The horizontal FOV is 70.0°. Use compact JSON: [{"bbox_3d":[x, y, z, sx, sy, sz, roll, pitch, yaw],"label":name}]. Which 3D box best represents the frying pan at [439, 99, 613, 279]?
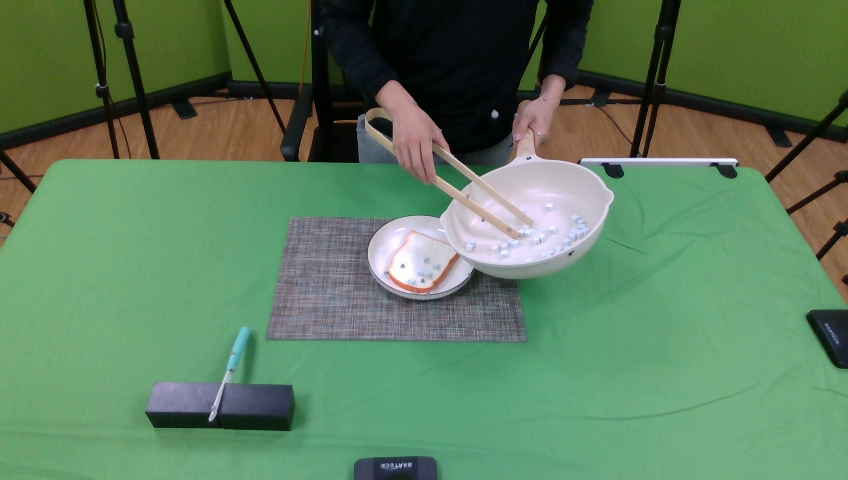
[{"bbox_3d":[0.193,-0.115,1.145,0.306,0.103,0.485,-6,49,17],"label":"frying pan"}]

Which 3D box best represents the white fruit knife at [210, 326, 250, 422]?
[{"bbox_3d":[-0.301,0.201,0.942,0.016,0.027,0.206,2,32,-2],"label":"white fruit knife"}]

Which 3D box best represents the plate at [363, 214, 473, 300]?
[{"bbox_3d":[-0.010,0.036,1.146,0.208,0.039,0.206,3,46,-2],"label":"plate"}]

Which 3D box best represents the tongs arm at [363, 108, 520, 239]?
[{"bbox_3d":[0.028,-0.129,1.135,0.384,0.026,0.050,35,63,13],"label":"tongs arm"}]

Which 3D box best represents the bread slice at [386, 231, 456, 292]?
[{"bbox_3d":[-0.007,0.043,1.142,0.107,0.018,0.134,18,45,14],"label":"bread slice"}]

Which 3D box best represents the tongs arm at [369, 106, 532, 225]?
[{"bbox_3d":[0.046,-0.145,1.147,0.386,0.028,0.028,38,67,15],"label":"tongs arm"}]
